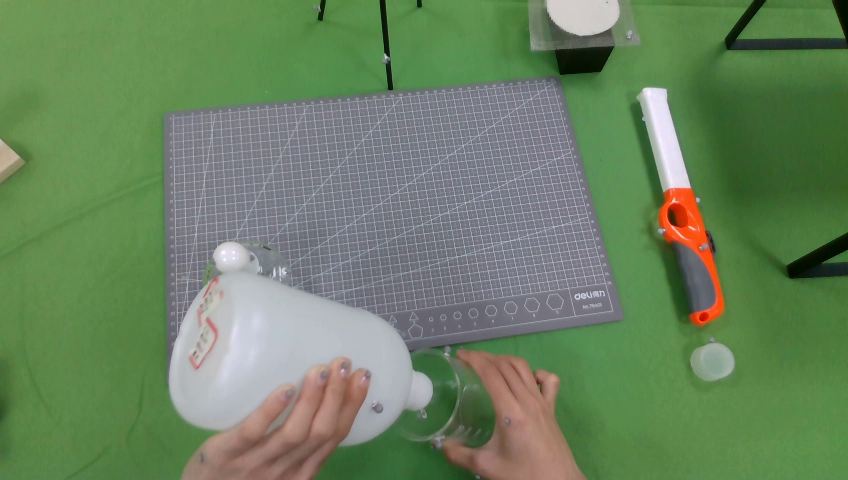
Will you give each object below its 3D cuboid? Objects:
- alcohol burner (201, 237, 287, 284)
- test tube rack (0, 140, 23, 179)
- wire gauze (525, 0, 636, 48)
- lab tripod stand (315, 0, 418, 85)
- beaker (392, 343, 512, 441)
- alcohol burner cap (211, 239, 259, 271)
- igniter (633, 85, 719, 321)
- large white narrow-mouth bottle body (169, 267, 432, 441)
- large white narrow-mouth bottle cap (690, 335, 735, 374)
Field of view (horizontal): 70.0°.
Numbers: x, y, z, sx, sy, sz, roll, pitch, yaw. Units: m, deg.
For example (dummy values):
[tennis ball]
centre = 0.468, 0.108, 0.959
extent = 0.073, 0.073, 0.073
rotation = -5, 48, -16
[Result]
[alcohol burner]
centre = -0.166, 0.028, 0.551
extent = 0.078, 0.120, 0.077
rotation = 2, 68, -5
[test tube rack]
centre = -0.520, -0.034, 0.565
extent = 0.066, 0.085, 0.242
rotation = 39, 72, 10
[wire gauze]
centre = 0.174, -0.272, 0.693
extent = 0.121, 0.011, 0.124
rotation = 0, 70, -4
[lab tripod stand]
centre = -0.054, -0.267, 0.660
extent = 0.148, 0.132, 0.147
rotation = 2, 70, -5
[beaker]
centre = 0.024, 0.137, 0.530
extent = 0.084, 0.101, 0.073
rotation = -19, 61, 31
[alcohol burner cap]
centre = -0.163, 0.016, 0.517
extent = 0.034, 0.048, 0.033
rotation = 0, 75, -1
[igniter]
centre = 0.273, -0.047, 0.661
extent = 0.057, 0.025, 0.274
rotation = 0, 70, -15
[large white narrow-mouth bottle body]
centre = -0.072, 0.093, 0.442
extent = 0.196, 0.101, 0.101
rotation = 25, 63, -39
[large white narrow-mouth bottle cap]
centre = 0.288, 0.115, 0.607
extent = 0.038, 0.024, 0.037
rotation = 1, 69, -3
